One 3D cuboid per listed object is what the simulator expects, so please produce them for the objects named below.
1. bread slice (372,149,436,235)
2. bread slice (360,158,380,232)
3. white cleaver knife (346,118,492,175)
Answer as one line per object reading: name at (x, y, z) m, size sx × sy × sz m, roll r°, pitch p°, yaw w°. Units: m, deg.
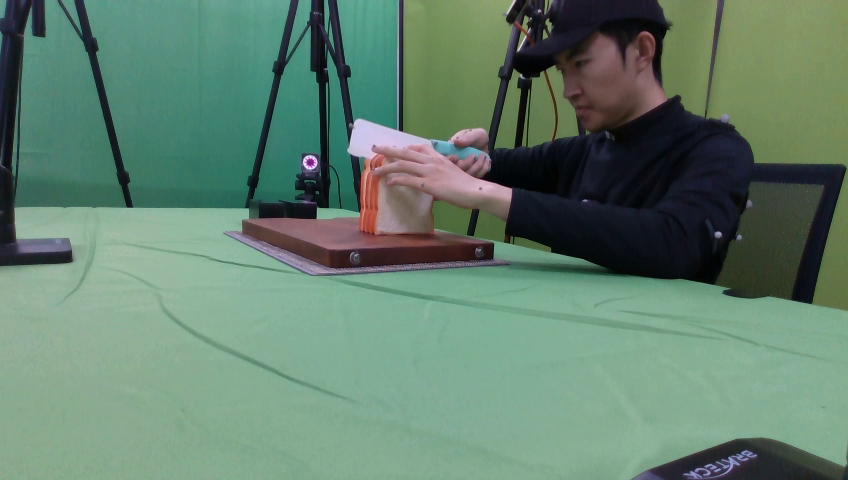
bread slice at (-0.031, -0.073, 0.939) m, size 0.107 × 0.134 × 0.018 m, roll -4°, pitch 9°, yaw -31°
bread slice at (-0.056, -0.079, 0.987) m, size 0.105 × 0.131 × 0.019 m, roll -1°, pitch 2°, yaw -32°
white cleaver knife at (-0.001, -0.143, 1.008) m, size 0.288 × 0.066 × 0.021 m, roll 8°, pitch -2°, yaw -33°
